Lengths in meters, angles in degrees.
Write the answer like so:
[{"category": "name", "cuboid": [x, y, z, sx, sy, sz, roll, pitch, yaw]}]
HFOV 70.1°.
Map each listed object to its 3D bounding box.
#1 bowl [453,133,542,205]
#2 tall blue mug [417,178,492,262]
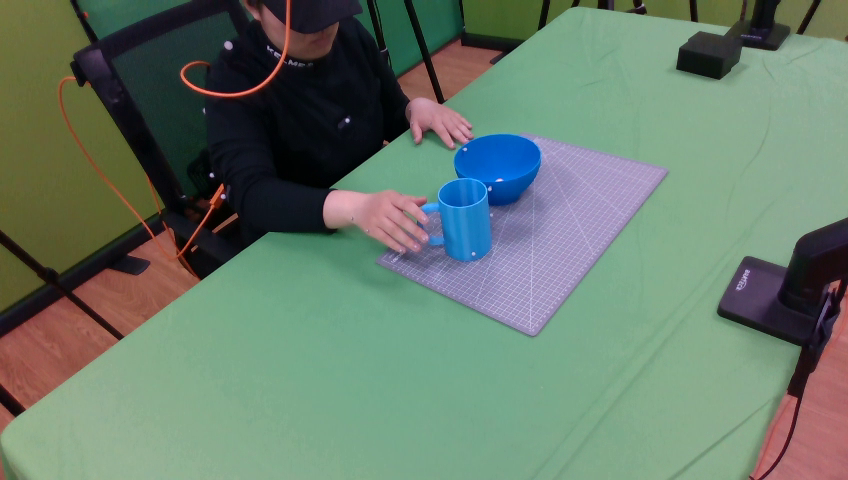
[{"category": "bowl", "cuboid": [0.129, -0.112, 1.045, 0.151, 0.077, 0.150, -5, 40, 5]}, {"category": "tall blue mug", "cuboid": [0.051, -0.025, 0.931, 0.107, 0.108, 0.077, -27, 44, -20]}]
